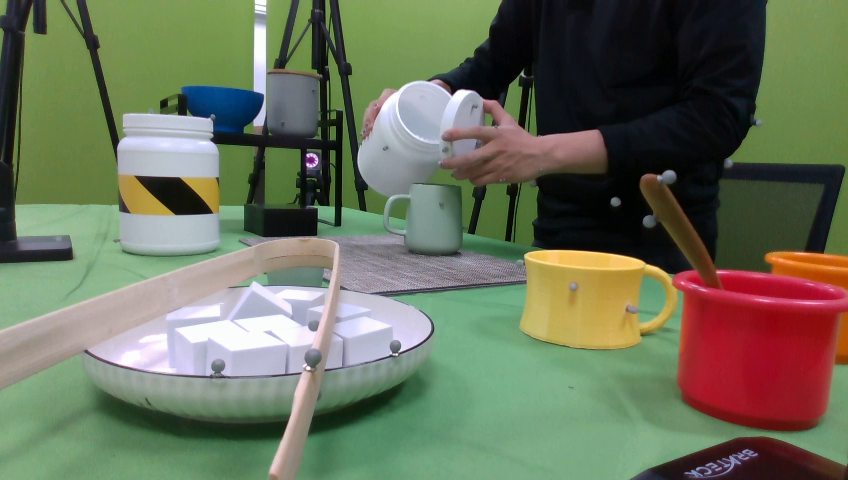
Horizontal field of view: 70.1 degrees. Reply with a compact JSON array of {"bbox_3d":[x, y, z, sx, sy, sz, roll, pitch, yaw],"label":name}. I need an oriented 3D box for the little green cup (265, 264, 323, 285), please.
[{"bbox_3d":[-0.134,0.033,0.628,0.061,0.038,0.061,3,7,0],"label":"little green cup"}]

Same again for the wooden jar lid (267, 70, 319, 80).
[{"bbox_3d":[-0.275,-0.339,1.271,0.108,0.020,0.108,5,6,0],"label":"wooden jar lid"}]

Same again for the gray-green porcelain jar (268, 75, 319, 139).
[{"bbox_3d":[-0.277,-0.279,1.280,0.106,0.126,0.106,2,8,0],"label":"gray-green porcelain jar"}]

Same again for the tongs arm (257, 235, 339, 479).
[{"bbox_3d":[-0.074,0.040,0.345,0.051,0.026,0.384,-1,9,-3],"label":"tongs arm"}]

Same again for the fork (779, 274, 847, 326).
[{"bbox_3d":[0.332,0.019,0.443,0.028,0.018,0.207,-3,-35,-16],"label":"fork"}]

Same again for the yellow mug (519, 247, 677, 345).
[{"bbox_3d":[0.148,0.045,0.513,0.131,0.064,0.100,3,6,0],"label":"yellow mug"}]

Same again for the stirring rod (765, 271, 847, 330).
[{"bbox_3d":[0.352,0.020,0.481,0.176,0.006,0.014,-40,-8,17],"label":"stirring rod"}]

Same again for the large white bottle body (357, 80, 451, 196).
[{"bbox_3d":[-0.025,-0.163,0.980,0.131,0.130,0.184,-1,-20,-23],"label":"large white bottle body"}]

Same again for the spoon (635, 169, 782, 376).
[{"bbox_3d":[0.161,0.026,0.346,0.021,0.194,0.041,-51,32,-20],"label":"spoon"}]

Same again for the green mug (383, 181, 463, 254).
[{"bbox_3d":[-0.001,-0.035,0.922,0.126,0.105,0.092,0,8,-16],"label":"green mug"}]

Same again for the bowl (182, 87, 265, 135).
[{"bbox_3d":[-0.383,-0.243,1.158,0.151,0.077,0.151,2,7,0],"label":"bowl"}]

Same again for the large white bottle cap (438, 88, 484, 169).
[{"bbox_3d":[0.055,-0.158,0.865,0.018,0.114,0.115,14,12,27],"label":"large white bottle cap"}]

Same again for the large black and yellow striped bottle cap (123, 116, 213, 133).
[{"bbox_3d":[-0.353,-0.159,0.838,0.115,0.019,0.115,2,6,0],"label":"large black and yellow striped bottle cap"}]

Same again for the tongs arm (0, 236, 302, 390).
[{"bbox_3d":[-0.157,0.037,0.347,0.028,0.028,0.388,-2,8,11],"label":"tongs arm"}]

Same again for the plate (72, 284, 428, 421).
[{"bbox_3d":[-0.102,0.067,0.381,0.208,0.039,0.207,3,7,0],"label":"plate"}]

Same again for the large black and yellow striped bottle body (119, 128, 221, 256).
[{"bbox_3d":[-0.355,-0.076,0.850,0.131,0.184,0.130,2,8,0],"label":"large black and yellow striped bottle body"}]
